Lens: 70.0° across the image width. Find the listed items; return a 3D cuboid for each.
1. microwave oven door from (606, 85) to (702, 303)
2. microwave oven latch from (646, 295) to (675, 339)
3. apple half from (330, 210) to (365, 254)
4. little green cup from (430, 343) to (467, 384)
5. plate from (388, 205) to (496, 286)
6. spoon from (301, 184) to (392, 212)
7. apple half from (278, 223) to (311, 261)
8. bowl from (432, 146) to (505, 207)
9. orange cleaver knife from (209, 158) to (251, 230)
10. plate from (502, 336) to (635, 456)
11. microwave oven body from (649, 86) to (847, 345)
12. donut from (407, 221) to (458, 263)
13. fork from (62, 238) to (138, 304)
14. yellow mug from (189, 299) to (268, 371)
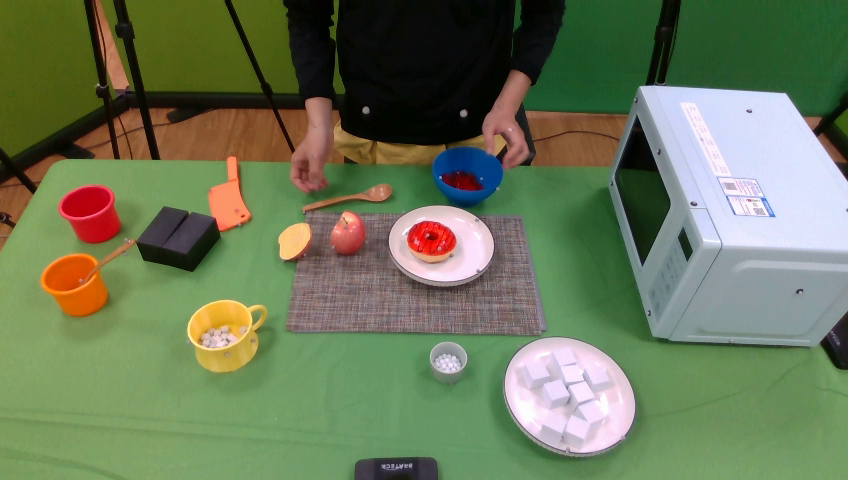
[{"bbox_3d":[0.423,-0.094,1.141,0.039,0.245,0.353,2,46,-1],"label":"microwave oven door"},{"bbox_3d":[0.412,0.134,1.061,0.030,0.029,0.078,4,45,1],"label":"microwave oven latch"},{"bbox_3d":[-0.140,-0.009,1.157,0.053,0.075,0.080,17,43,8],"label":"apple half"},{"bbox_3d":[0.039,0.203,0.994,0.061,0.039,0.061,2,46,-2],"label":"little green cup"},{"bbox_3d":[0.033,0.014,1.171,0.209,0.038,0.208,2,46,-2],"label":"plate"},{"bbox_3d":[-0.162,-0.086,1.269,0.194,0.022,0.041,-11,62,-15],"label":"spoon"},{"bbox_3d":[-0.241,0.007,1.157,0.081,0.033,0.081,-17,54,25],"label":"apple half"},{"bbox_3d":[0.091,-0.124,1.286,0.151,0.077,0.150,2,46,-2],"label":"bowl"},{"bbox_3d":[-0.409,-0.099,1.266,0.077,0.012,0.210,-13,49,-10],"label":"orange cleaver knife"},{"bbox_3d":[0.225,0.248,0.964,0.208,0.039,0.206,2,46,-2],"label":"plate"},{"bbox_3d":[0.568,-0.053,1.118,0.326,0.261,0.439,2,45,-1],"label":"microwave oven body"},{"bbox_3d":[0.016,0.002,1.166,0.099,0.048,0.098,3,43,-3],"label":"donut"},{"bbox_3d":[-0.547,0.053,1.018,0.207,0.019,0.028,-36,41,23],"label":"fork"},{"bbox_3d":[-0.316,0.148,1.002,0.131,0.064,0.099,-33,56,-31],"label":"yellow mug"}]
